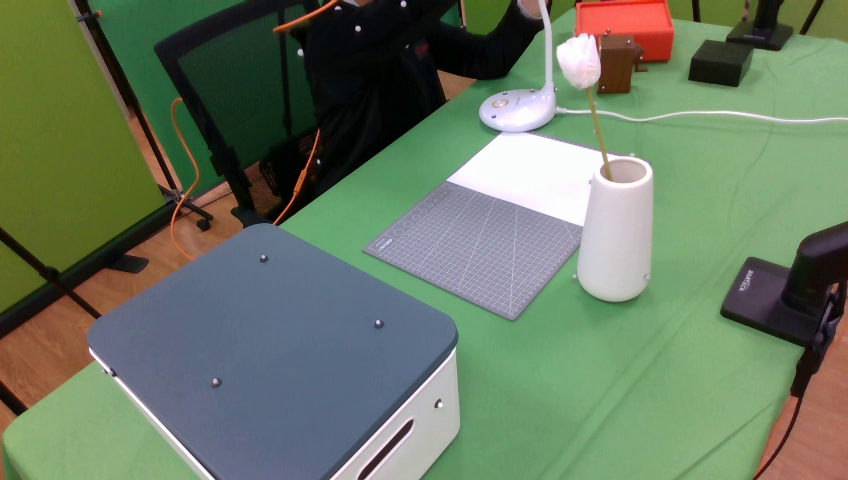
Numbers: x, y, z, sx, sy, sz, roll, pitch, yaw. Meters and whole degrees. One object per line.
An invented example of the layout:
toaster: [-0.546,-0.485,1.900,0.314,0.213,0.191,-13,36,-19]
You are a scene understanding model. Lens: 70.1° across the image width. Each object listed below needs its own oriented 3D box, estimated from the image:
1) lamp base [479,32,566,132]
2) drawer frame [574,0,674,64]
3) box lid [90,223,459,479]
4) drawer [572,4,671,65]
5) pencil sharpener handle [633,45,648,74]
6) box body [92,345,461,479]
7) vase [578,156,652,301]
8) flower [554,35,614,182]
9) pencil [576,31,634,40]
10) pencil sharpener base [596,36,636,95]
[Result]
lamp base: [0.200,-0.332,1.219,0.179,0.181,0.160,1,40,7]
drawer frame: [0.464,-0.492,1.434,0.213,0.083,0.201,1,40,12]
box lid: [-0.174,0.102,0.666,0.368,0.015,0.264,24,48,35]
drawer: [0.461,-0.490,1.435,0.211,0.073,0.194,2,40,12]
pencil sharpener handle: [0.454,-0.378,1.262,0.030,0.068,0.036,1,47,13]
box body: [-0.162,0.170,0.708,0.361,0.161,0.255,25,50,34]
vase: [0.261,-0.011,0.812,0.098,0.201,0.097,-4,40,4]
flower: [0.237,-0.083,0.774,0.044,0.363,0.038,-22,26,6]
pencil: [0.430,-0.487,1.443,0.012,0.012,0.192,-25,30,-18]
pencil sharpener base: [0.406,-0.369,1.280,0.076,0.107,0.061,1,41,13]
